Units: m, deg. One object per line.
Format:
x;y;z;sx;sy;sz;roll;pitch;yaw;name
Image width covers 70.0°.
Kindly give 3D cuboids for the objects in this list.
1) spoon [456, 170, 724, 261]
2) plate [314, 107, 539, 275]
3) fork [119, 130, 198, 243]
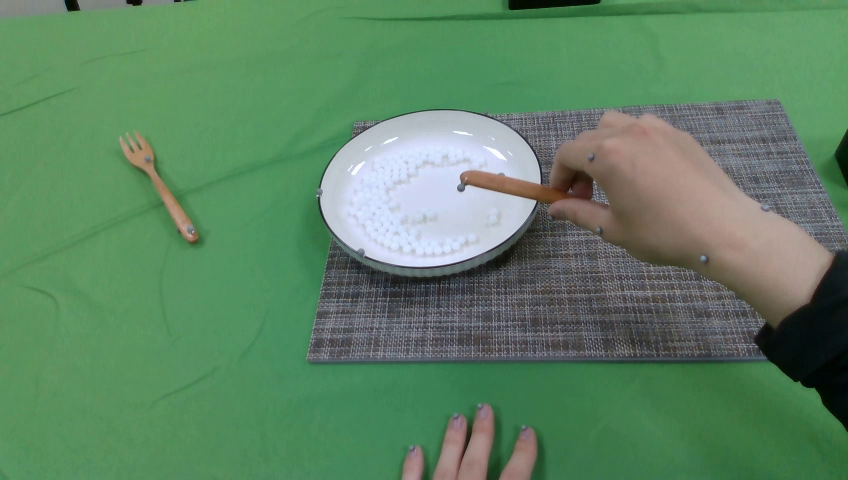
0.118;-0.025;0.441;0.193;0.022;0.041;16;85;3;spoon
0.003;-0.047;0.569;0.207;0.039;0.205;-4;50;5;plate
-0.279;-0.060;0.636;0.028;0.019;0.205;-28;50;-23;fork
